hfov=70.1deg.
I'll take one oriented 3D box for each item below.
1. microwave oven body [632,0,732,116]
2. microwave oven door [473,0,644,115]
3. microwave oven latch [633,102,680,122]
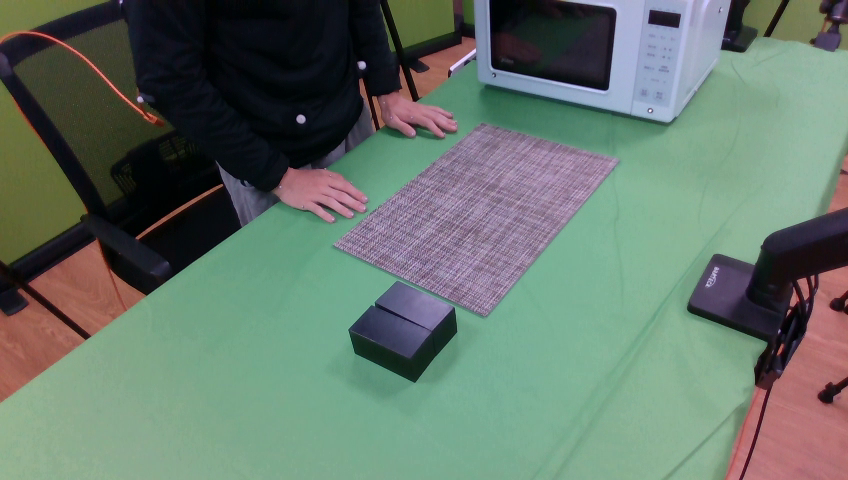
[{"bbox_3d":[0.377,-0.463,1.267,0.438,0.261,0.327,21,48,30],"label":"microwave oven body"},{"bbox_3d":[0.257,-0.396,1.199,0.353,0.245,0.039,21,48,29],"label":"microwave oven door"},{"bbox_3d":[0.443,-0.249,1.157,0.078,0.029,0.030,21,49,30],"label":"microwave oven latch"}]
